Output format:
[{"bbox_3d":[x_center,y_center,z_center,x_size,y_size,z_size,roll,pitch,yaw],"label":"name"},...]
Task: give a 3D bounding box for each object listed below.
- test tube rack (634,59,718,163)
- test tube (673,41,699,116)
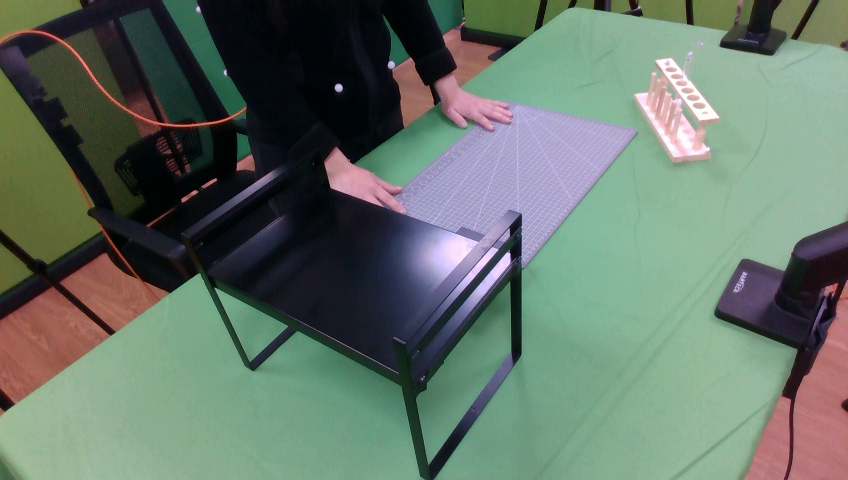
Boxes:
[{"bbox_3d":[0.470,-0.250,1.148,0.067,0.085,0.241,-6,40,3],"label":"test tube rack"},{"bbox_3d":[0.484,-0.297,1.125,0.017,0.151,0.017,-1,43,1],"label":"test tube"}]
